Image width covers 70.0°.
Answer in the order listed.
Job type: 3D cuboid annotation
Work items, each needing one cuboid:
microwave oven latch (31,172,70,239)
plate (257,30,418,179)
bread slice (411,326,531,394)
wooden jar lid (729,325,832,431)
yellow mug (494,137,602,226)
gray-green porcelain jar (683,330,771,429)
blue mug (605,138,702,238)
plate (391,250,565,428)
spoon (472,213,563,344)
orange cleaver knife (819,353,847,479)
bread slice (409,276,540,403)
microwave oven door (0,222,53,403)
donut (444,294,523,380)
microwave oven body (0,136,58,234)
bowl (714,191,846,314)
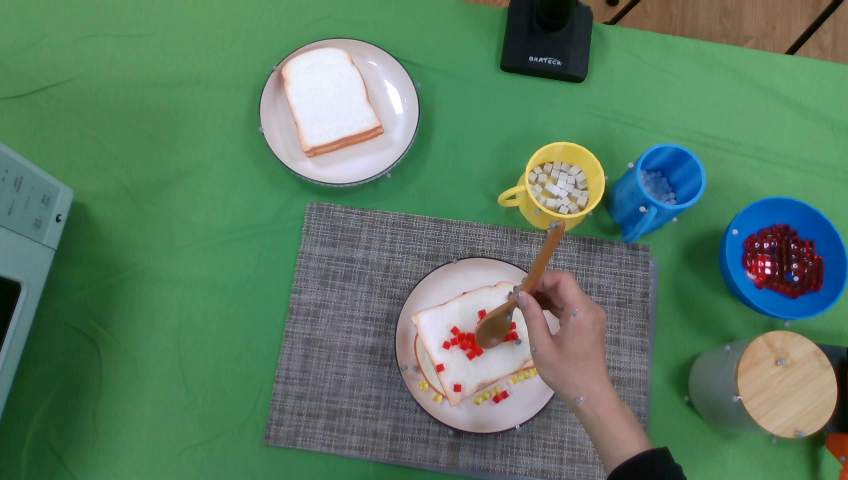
[{"bbox_3d":[-0.456,-0.043,0.731,0.030,0.029,0.079,13,77,1],"label":"microwave oven latch"},{"bbox_3d":[-0.112,-0.174,0.798,0.208,0.039,0.206,1,76,-2],"label":"plate"},{"bbox_3d":[0.053,0.126,0.732,0.131,0.019,0.104,-23,76,-11],"label":"bread slice"},{"bbox_3d":[0.368,0.143,0.631,0.108,0.021,0.108,1,79,-4],"label":"wooden jar lid"},{"bbox_3d":[0.153,-0.069,0.769,0.131,0.064,0.099,-12,76,-4],"label":"yellow mug"},{"bbox_3d":[0.367,0.159,0.692,0.106,0.127,0.105,1,76,-2],"label":"gray-green porcelain jar"},{"bbox_3d":[0.274,-0.054,0.751,0.082,0.106,0.116,28,77,5],"label":"blue mug"},{"bbox_3d":[0.064,0.118,0.730,0.209,0.038,0.208,1,76,-2],"label":"plate"},{"bbox_3d":[0.093,0.044,0.595,0.042,0.195,0.021,0,51,-23],"label":"spoon"},{"bbox_3d":[0.486,0.228,0.702,0.012,0.077,0.212,7,102,0],"label":"orange cleaver knife"},{"bbox_3d":[0.061,0.100,0.674,0.134,0.018,0.106,-26,83,-14],"label":"bread slice"},{"bbox_3d":[-0.492,0.141,0.580,0.039,0.245,0.354,10,76,1],"label":"microwave oven door"},{"bbox_3d":[0.070,0.112,0.703,0.099,0.048,0.098,5,77,-20],"label":"donut"},{"bbox_3d":[-0.629,0.076,0.595,0.326,0.261,0.439,10,76,0],"label":"microwave oven body"},{"bbox_3d":[0.424,0.022,0.752,0.151,0.077,0.150,1,76,-2],"label":"bowl"}]
